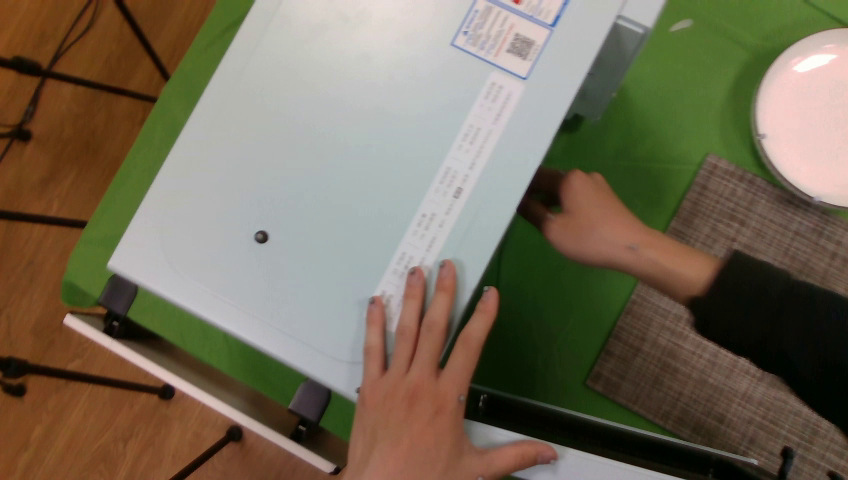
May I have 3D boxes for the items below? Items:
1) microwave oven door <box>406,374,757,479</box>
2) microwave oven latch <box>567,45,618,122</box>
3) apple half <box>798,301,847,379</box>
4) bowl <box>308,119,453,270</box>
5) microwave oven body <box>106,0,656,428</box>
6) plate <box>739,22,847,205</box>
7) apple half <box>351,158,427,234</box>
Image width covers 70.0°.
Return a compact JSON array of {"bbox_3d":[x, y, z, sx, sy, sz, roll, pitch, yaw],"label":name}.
[{"bbox_3d":[0.169,0.193,0.545,0.355,0.244,0.039,13,84,6],"label":"microwave oven door"},{"bbox_3d":[0.192,-0.176,0.689,0.030,0.029,0.079,27,86,7],"label":"microwave oven latch"},{"bbox_3d":[0.425,0.102,0.635,0.053,0.075,0.080,7,87,11],"label":"apple half"},{"bbox_3d":[-0.036,-0.043,0.634,0.151,0.077,0.151,0,89,15],"label":"bowl"},{"bbox_3d":[-0.029,-0.097,0.599,0.325,0.261,0.441,26,86,7],"label":"microwave oven body"},{"bbox_3d":[0.459,-0.139,0.683,0.207,0.039,0.207,0,83,4],"label":"plate"},{"bbox_3d":[-0.035,-0.043,0.623,0.081,0.033,0.081,0,95,2],"label":"apple half"}]
